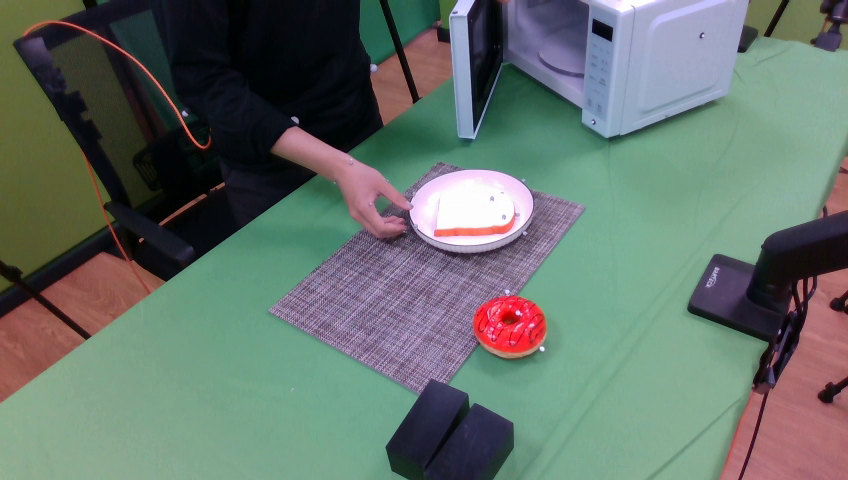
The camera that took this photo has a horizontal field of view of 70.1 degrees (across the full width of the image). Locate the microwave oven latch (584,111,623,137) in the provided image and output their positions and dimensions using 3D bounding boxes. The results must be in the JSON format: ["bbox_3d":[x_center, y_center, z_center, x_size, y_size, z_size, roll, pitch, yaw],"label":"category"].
[{"bbox_3d":[0.337,-0.222,1.142,0.030,0.029,0.078,-21,42,-14],"label":"microwave oven latch"}]

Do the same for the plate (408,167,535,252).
[{"bbox_3d":[0.078,-0.047,0.996,0.207,0.039,0.206,-4,41,4],"label":"plate"}]

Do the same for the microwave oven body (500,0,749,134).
[{"bbox_3d":[0.382,-0.444,1.246,0.327,0.261,0.437,-22,42,-16],"label":"microwave oven body"}]

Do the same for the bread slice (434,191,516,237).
[{"bbox_3d":[0.086,-0.046,0.996,0.131,0.019,0.104,-1,42,7],"label":"bread slice"}]

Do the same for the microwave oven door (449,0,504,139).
[{"bbox_3d":[0.114,-0.404,1.229,0.039,0.245,0.355,6,42,15],"label":"microwave oven door"}]

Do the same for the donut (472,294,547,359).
[{"bbox_3d":[0.114,0.114,0.803,0.099,0.048,0.098,0,40,1],"label":"donut"}]
